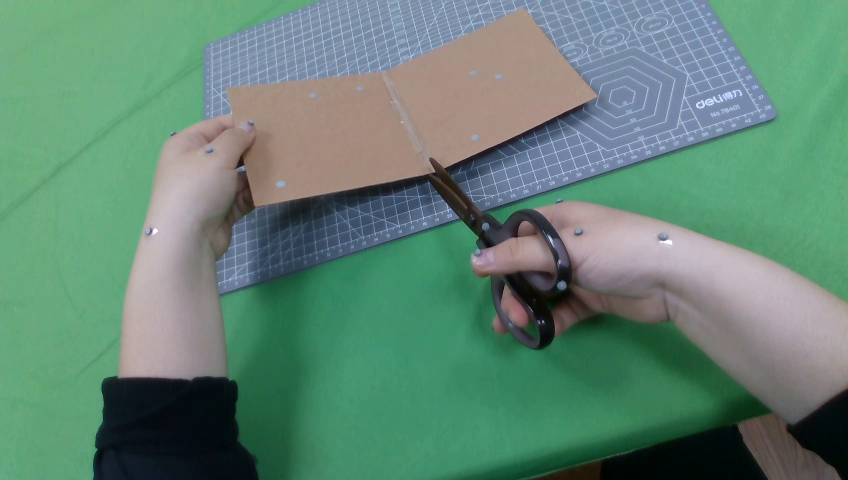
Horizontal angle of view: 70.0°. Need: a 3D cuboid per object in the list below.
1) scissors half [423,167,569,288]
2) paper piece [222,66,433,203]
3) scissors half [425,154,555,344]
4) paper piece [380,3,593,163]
[{"bbox_3d":[0.038,-0.020,0.390,0.013,0.040,0.173,-11,26,-23],"label":"scissors half"},{"bbox_3d":[-0.079,-0.090,0.475,0.138,0.009,0.134,-13,50,-15],"label":"paper piece"},{"bbox_3d":[0.037,-0.002,0.404,0.013,0.040,0.173,-15,55,-20],"label":"scissors half"},{"bbox_3d":[0.044,-0.133,0.492,0.135,0.004,0.134,-24,54,0],"label":"paper piece"}]
